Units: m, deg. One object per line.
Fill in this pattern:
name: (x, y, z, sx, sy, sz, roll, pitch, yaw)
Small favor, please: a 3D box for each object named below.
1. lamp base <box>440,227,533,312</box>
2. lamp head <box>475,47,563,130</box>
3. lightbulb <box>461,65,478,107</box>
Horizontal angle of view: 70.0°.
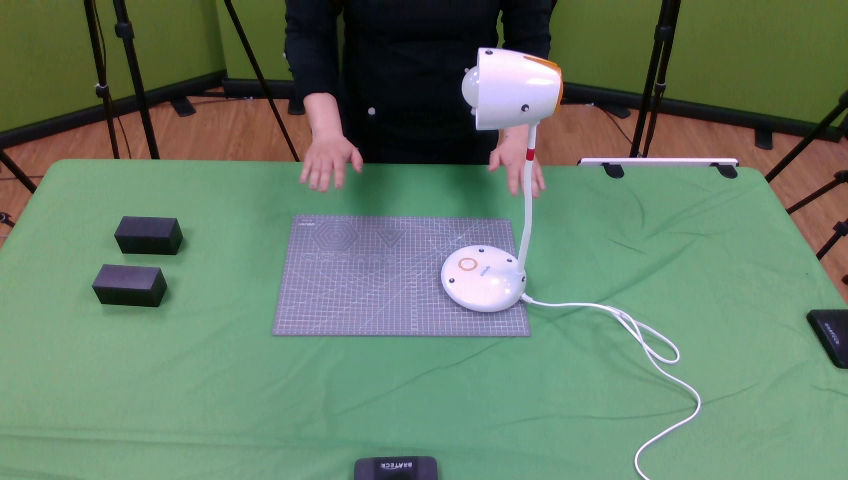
lamp base: (0.126, 0.021, 1.073, 0.179, 0.181, 0.160, 22, 49, 13)
lamp head: (0.129, -0.206, 0.840, 0.123, 0.113, 0.112, 5, 45, -1)
lightbulb: (0.106, -0.214, 0.850, 0.108, 0.060, 0.059, 4, 45, -2)
